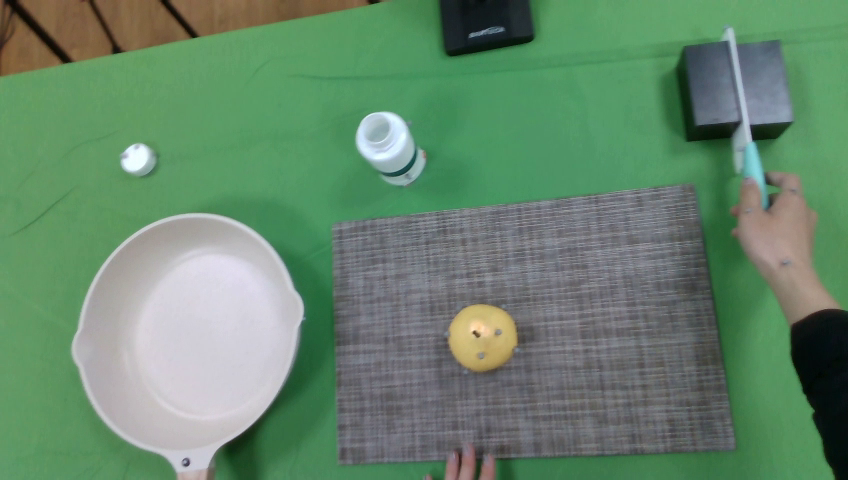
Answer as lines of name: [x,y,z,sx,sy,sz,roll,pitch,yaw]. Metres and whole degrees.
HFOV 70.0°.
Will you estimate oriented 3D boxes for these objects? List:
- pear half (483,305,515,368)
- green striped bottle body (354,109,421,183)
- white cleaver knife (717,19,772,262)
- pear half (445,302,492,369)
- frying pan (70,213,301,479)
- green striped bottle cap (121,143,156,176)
pear half: [0.086,0.107,0.679,0.031,0.088,0.070,-2,74,12]
green striped bottle body: [-0.045,-0.116,0.738,0.063,0.120,0.063,-2,77,11]
white cleaver knife: [0.360,-0.115,0.686,0.021,0.066,0.285,-5,76,17]
pear half: [0.049,0.104,0.677,0.056,0.110,0.076,-1,73,11]
frying pan: [-0.277,0.209,0.725,0.306,0.103,0.484,-11,69,9]
green striped bottle cap: [-0.405,-0.114,0.860,0.044,0.020,0.044,-2,78,11]
